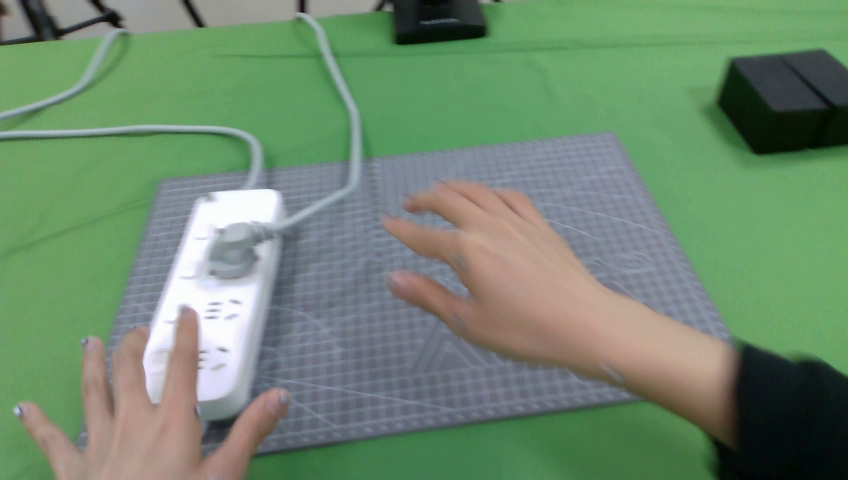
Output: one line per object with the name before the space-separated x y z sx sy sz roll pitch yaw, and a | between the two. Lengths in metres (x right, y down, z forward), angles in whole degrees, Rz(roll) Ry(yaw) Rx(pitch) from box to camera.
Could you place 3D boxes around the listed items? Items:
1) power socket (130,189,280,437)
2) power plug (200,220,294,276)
power socket | -0.158 0.038 0.462 0.072 0.033 0.224 -2 45 -1
power plug | -0.131 0.013 0.452 0.072 0.053 0.035 3 46 8
